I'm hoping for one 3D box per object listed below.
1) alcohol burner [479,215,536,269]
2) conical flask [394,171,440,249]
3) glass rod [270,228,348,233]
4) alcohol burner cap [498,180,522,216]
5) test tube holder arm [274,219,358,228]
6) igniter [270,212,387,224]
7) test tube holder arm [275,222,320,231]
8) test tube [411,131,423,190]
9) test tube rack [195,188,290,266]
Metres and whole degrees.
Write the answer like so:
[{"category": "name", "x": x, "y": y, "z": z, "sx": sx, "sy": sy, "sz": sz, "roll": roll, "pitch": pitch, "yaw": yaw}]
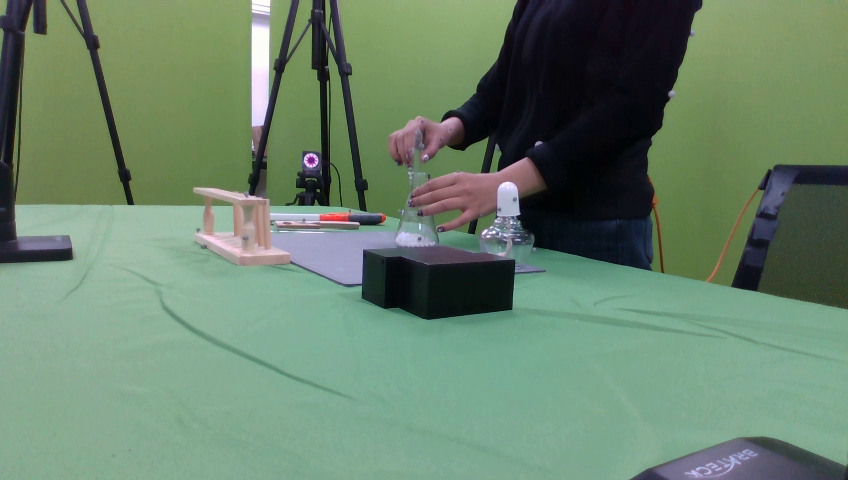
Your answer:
[{"category": "alcohol burner", "x": 0.114, "y": -0.021, "z": 0.816, "sx": 0.078, "sy": 0.119, "sz": 0.078, "roll": 2, "pitch": 9, "yaw": 0}, {"category": "conical flask", "x": -0.009, "y": -0.050, "z": 0.969, "sx": 0.075, "sy": 0.122, "sz": 0.075, "roll": 3, "pitch": 7, "yaw": 0}, {"category": "glass rod", "x": -0.234, "y": -0.017, "z": 1.105, "sx": 0.201, "sy": 0.008, "sz": 0.008, "roll": 1, "pitch": 7, "yaw": -26}, {"category": "alcohol burner cap", "x": 0.114, "y": -0.056, "z": 0.810, "sx": 0.034, "sy": 0.048, "sz": 0.034, "roll": -5, "pitch": 12, "yaw": 1}, {"category": "test tube holder arm", "x": -0.206, "y": -0.032, "z": 1.177, "sx": 0.179, "sy": 0.015, "sz": 0.013, "roll": -4, "pitch": 46, "yaw": -39}, {"category": "igniter", "x": -0.213, "y": -0.048, "z": 1.278, "sx": 0.278, "sy": 0.025, "sz": 0.057, "roll": -1, "pitch": -2, "yaw": -25}, {"category": "test tube holder arm", "x": -0.238, "y": -0.026, "z": 1.145, "sx": 0.088, "sy": 0.015, "sz": 0.010, "roll": -3, "pitch": 46, "yaw": -39}, {"category": "test tube", "x": -0.012, "y": -0.132, "z": 1.036, "sx": 0.017, "sy": 0.017, "sz": 0.150, "roll": 2, "pitch": -31, "yaw": -2}, {"category": "test tube rack", "x": -0.266, "y": -0.025, "z": 0.864, "sx": 0.067, "sy": 0.085, "sz": 0.241, "roll": -2, "pitch": 9, "yaw": -33}]
